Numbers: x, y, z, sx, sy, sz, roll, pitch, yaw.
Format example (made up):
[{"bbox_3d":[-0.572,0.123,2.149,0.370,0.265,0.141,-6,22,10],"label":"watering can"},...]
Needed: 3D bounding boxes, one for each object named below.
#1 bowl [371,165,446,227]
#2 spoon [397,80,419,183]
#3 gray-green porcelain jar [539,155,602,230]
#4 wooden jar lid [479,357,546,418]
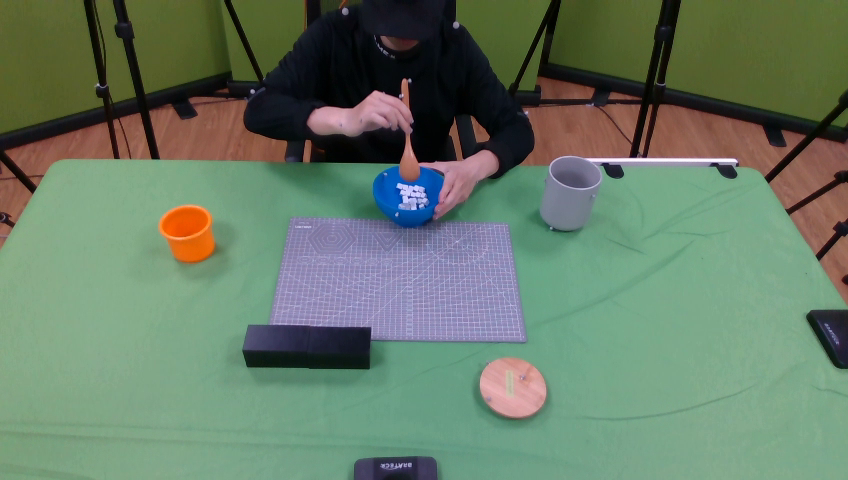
[{"bbox_3d":[-0.032,-0.079,1.229,0.151,0.077,0.150,2,43,-2],"label":"bowl"},{"bbox_3d":[-0.034,-0.200,1.136,0.041,0.194,0.021,0,18,9],"label":"spoon"},{"bbox_3d":[0.294,-0.091,1.235,0.106,0.127,0.105,2,46,-2],"label":"gray-green porcelain jar"},{"bbox_3d":[0.142,0.240,0.979,0.108,0.021,0.107,1,46,-1],"label":"wooden jar lid"}]
